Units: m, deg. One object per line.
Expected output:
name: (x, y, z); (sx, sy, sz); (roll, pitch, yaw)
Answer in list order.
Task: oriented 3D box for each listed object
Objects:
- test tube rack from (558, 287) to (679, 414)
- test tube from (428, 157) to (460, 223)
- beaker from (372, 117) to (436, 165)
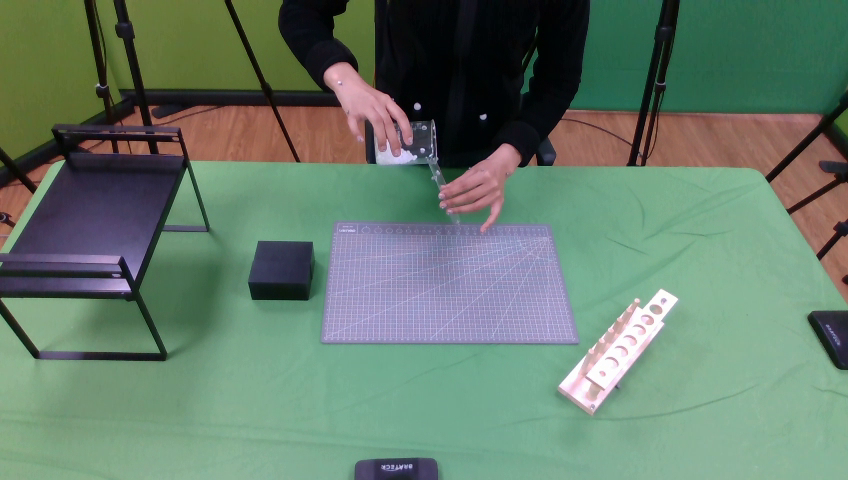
test tube rack: (0.326, 0.170, 1.009); (0.066, 0.085, 0.242); (35, 54, 26)
test tube: (0.037, -0.085, 1.074); (0.017, 0.151, 0.017); (-14, 43, 13)
beaker: (-0.033, -0.159, 0.995); (0.100, 0.084, 0.073); (-3, 48, -3)
